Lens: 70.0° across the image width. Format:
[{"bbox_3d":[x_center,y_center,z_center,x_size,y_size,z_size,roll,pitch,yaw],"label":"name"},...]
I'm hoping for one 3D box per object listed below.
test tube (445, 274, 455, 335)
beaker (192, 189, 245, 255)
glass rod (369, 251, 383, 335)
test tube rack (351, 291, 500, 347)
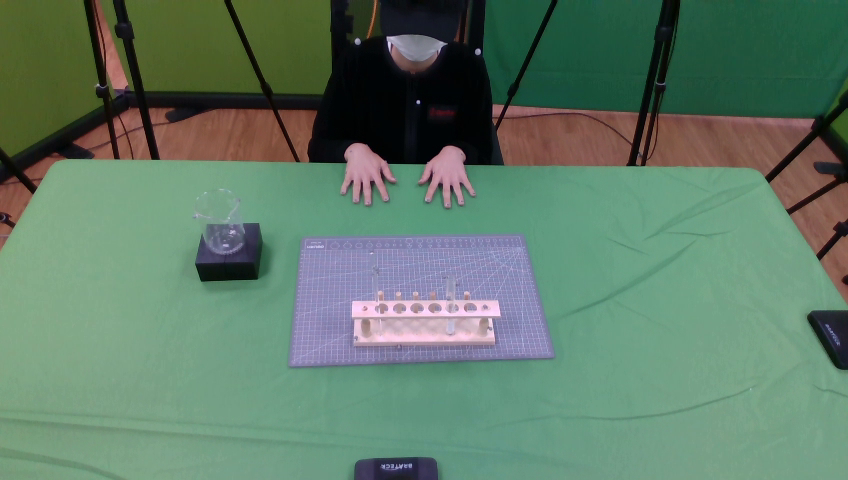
[{"bbox_3d":[0.042,0.108,0.981,0.017,0.151,0.017,-1,48,1],"label":"test tube"},{"bbox_3d":[-0.359,-0.028,1.073,0.074,0.101,0.083,-25,53,-25],"label":"beaker"},{"bbox_3d":[-0.075,0.090,0.965,0.008,0.201,0.008,-1,44,1],"label":"glass rod"},{"bbox_3d":[0.000,0.129,1.026,0.242,0.085,0.066,0,46,-4],"label":"test tube rack"}]
